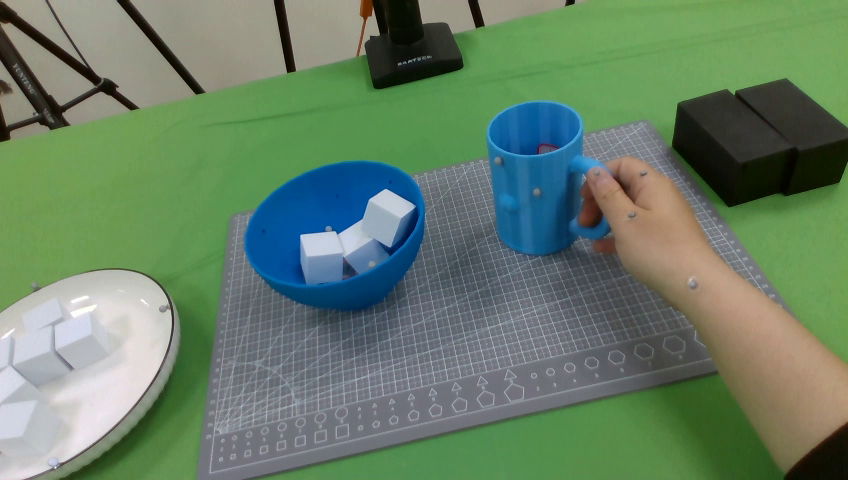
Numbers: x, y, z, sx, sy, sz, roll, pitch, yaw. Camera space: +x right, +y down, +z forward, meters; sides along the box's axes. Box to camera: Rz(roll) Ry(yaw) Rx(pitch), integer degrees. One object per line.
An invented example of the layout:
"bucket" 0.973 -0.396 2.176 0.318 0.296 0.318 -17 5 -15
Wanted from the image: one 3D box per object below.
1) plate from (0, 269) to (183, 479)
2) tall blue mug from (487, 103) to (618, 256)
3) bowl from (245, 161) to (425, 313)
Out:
"plate" -0.300 0.112 0.504 0.209 0.038 0.207 -6 44 6
"tall blue mug" 0.111 -0.048 0.512 0.107 0.109 0.077 6 46 19
"bowl" -0.066 0.009 0.519 0.151 0.077 0.150 -7 44 7
